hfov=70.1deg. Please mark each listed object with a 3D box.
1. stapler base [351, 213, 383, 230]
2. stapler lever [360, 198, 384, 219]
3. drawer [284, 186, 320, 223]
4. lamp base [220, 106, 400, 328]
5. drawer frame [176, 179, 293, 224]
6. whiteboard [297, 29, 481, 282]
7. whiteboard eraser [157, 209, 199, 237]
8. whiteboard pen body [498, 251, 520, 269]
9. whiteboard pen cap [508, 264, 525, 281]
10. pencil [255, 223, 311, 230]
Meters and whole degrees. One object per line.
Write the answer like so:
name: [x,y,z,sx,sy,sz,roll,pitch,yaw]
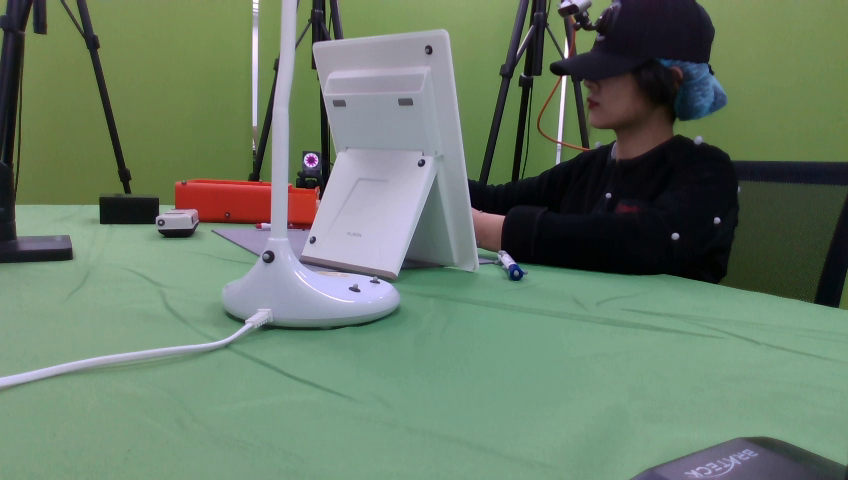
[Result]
stapler base: [-0.112,-0.040,1.233,0.041,0.024,0.131,23,7,6]
stapler lever: [-0.104,-0.064,1.231,0.027,0.040,0.118,23,7,6]
drawer: [-0.333,-0.083,1.310,0.212,0.073,0.194,1,8,-8]
lamp base: [-0.101,-0.023,0.531,0.160,0.180,0.179,4,10,10]
drawer frame: [-0.395,-0.086,1.299,0.214,0.082,0.201,1,8,-9]
whiteboard: [-0.075,-0.082,0.741,0.216,0.305,0.144,9,29,37]
whiteboard eraser: [-0.411,-0.029,1.016,0.056,0.042,0.112,2,7,-16]
whiteboard pen body: [0.116,0.032,0.810,0.017,0.017,0.140,2,8,-1]
whiteboard pen cap: [0.115,0.039,0.752,0.018,0.018,0.033,2,9,0]
pencil: [-0.216,-0.022,1.134,0.195,0.012,0.012,1,7,-21]
